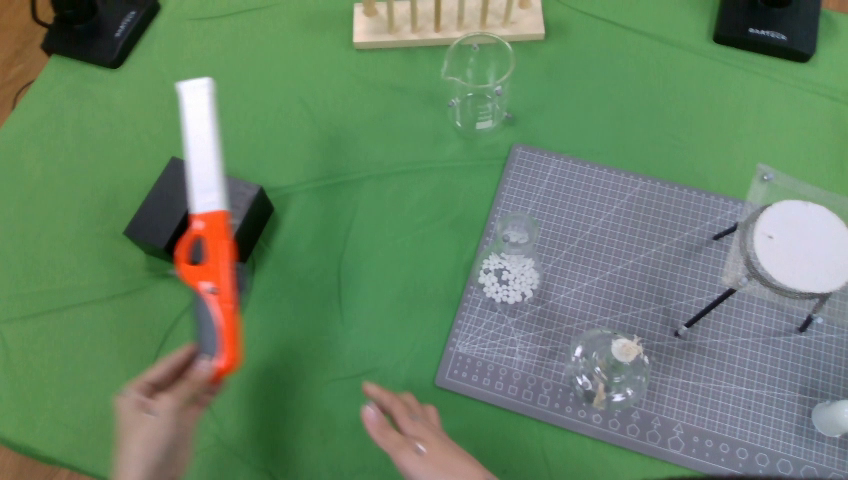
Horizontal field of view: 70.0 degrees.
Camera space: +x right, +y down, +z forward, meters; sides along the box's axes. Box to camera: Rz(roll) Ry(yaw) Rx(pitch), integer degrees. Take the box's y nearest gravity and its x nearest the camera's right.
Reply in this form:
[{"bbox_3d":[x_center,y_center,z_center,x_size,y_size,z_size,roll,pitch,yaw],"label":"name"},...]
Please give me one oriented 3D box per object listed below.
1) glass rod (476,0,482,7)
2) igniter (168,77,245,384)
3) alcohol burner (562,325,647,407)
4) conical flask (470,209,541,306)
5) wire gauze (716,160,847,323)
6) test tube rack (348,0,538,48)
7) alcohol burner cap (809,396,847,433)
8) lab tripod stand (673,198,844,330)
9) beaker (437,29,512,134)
[{"bbox_3d":[0.076,-0.344,0.698,0.008,0.201,0.008,1,66,-2],"label":"glass rod"},{"bbox_3d":[-0.196,-0.013,0.540,0.057,0.025,0.275,-10,81,-1],"label":"igniter"},{"bbox_3d":[0.168,0.110,0.552,0.078,0.120,0.077,0,65,0],"label":"alcohol burner"},{"bbox_3d":[0.084,0.013,0.592,0.075,0.123,0.075,-1,66,2],"label":"conical flask"},{"bbox_3d":[0.322,0.001,0.509,0.121,0.011,0.124,22,69,9],"label":"wire gauze"},{"bbox_3d":[0.022,-0.300,0.753,0.242,0.086,0.066,-3,67,1],"label":"test tube rack"},{"bbox_3d":[0.386,0.160,0.562,0.034,0.048,0.033,-1,67,3],"label":"alcohol burner cap"},{"bbox_3d":[0.316,0.030,0.570,0.148,0.132,0.147,0,65,0],"label":"lab tripod stand"},{"bbox_3d":[0.055,-0.174,0.690,0.084,0.101,0.073,-23,67,-7],"label":"beaker"}]
